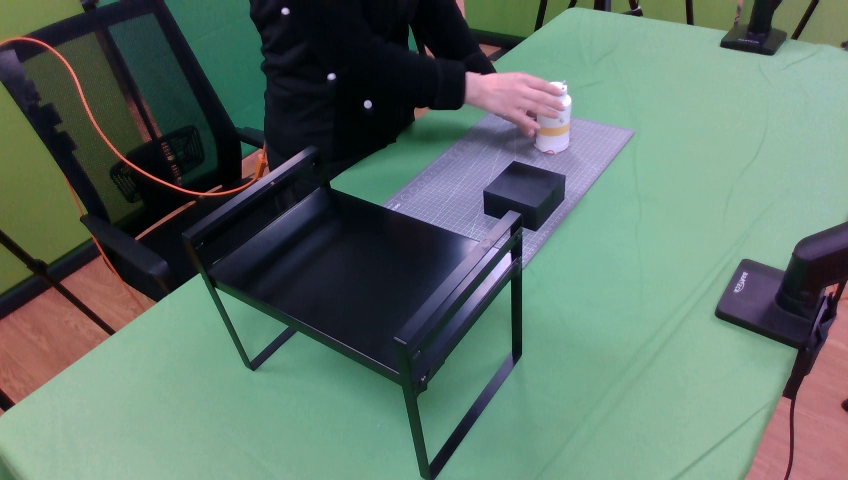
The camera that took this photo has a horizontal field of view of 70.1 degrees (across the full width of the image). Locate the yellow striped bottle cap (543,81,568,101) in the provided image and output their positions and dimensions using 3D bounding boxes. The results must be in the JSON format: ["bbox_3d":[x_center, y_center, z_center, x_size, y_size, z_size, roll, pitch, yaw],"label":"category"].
[{"bbox_3d":[0.238,-0.269,1.093,0.044,0.019,0.044,-3,40,3],"label":"yellow striped bottle cap"}]

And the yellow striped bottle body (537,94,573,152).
[{"bbox_3d":[0.244,-0.231,1.128,0.063,0.121,0.062,-4,41,4],"label":"yellow striped bottle body"}]
